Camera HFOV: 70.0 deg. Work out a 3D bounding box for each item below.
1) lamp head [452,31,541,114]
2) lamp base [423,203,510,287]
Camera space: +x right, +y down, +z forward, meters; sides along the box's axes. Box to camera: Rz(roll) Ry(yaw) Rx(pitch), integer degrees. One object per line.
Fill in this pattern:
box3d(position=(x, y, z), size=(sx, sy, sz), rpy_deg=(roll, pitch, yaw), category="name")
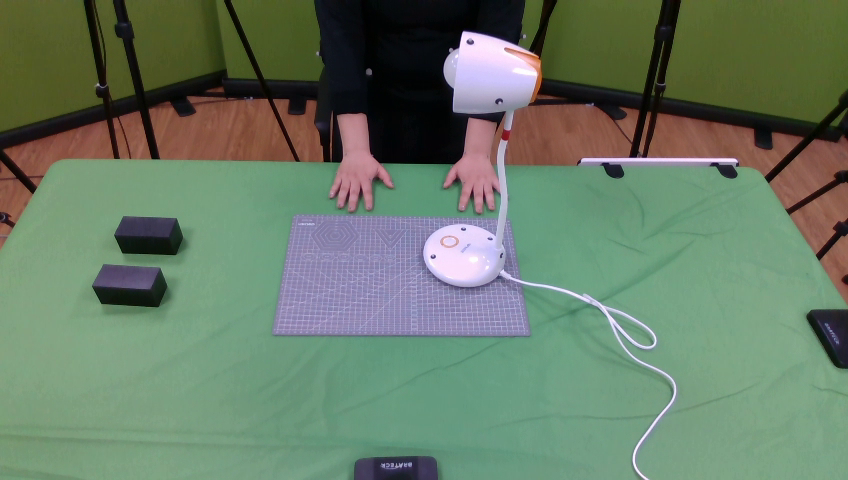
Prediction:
box3d(position=(0.102, -0.228, 0.858), size=(0.123, 0.113, 0.112), rpy_deg=(11, 46, 0), category="lamp head")
box3d(position=(0.092, -0.021, 1.111), size=(0.179, 0.181, 0.160), rpy_deg=(23, 49, 14), category="lamp base")
